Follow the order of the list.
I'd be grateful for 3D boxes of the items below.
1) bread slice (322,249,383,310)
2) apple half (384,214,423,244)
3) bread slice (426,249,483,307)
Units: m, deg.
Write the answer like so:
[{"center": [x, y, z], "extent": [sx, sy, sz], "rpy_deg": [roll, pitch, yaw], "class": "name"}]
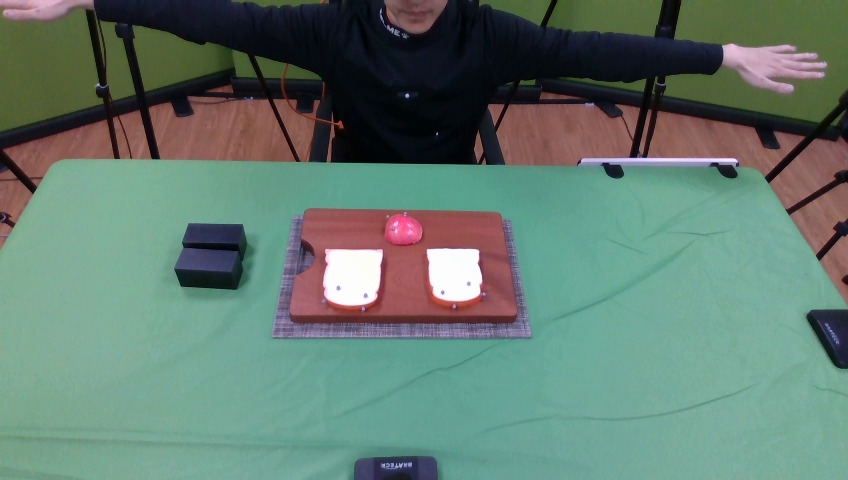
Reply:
[{"center": [-0.127, 0.068, 1.083], "extent": [0.107, 0.018, 0.133], "rpy_deg": [-1, 47, -4], "class": "bread slice"}, {"center": [-0.039, -0.028, 1.172], "extent": [0.081, 0.033, 0.081], "rpy_deg": [1, 45, 0], "class": "apple half"}, {"center": [0.058, 0.066, 1.100], "extent": [0.105, 0.019, 0.130], "rpy_deg": [-1, 45, -3], "class": "bread slice"}]
